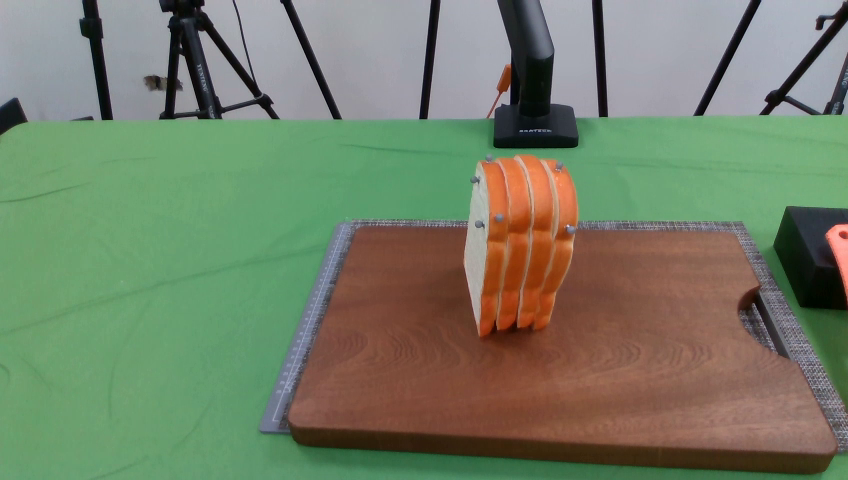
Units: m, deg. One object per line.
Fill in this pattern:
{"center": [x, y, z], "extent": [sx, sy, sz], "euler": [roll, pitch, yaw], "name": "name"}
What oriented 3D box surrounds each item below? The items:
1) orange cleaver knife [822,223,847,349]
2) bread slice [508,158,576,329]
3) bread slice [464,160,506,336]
{"center": [0.382, 0.065, 0.507], "extent": [0.077, 0.012, 0.210], "euler": [11, 57, 13], "name": "orange cleaver knife"}
{"center": [0.103, -0.002, 0.531], "extent": [0.019, 0.132, 0.104], "euler": [2, 38, -8], "name": "bread slice"}
{"center": [0.052, -0.001, 0.533], "extent": [0.018, 0.135, 0.106], "euler": [-1, 33, -4], "name": "bread slice"}
